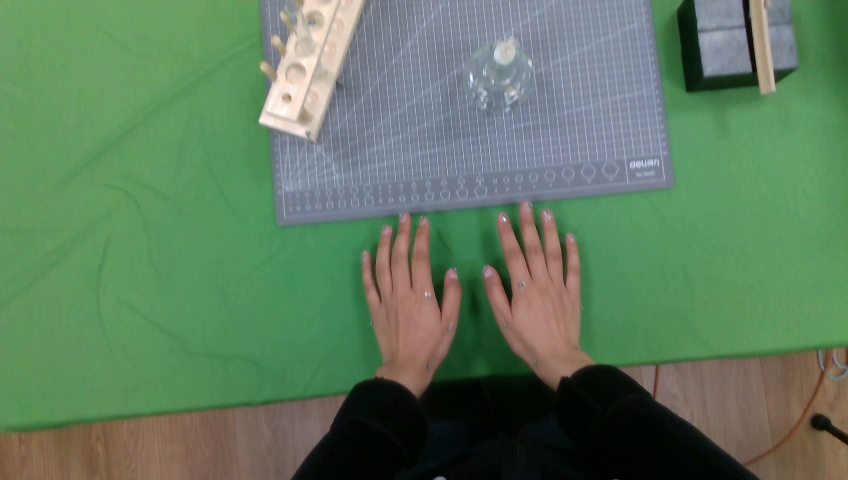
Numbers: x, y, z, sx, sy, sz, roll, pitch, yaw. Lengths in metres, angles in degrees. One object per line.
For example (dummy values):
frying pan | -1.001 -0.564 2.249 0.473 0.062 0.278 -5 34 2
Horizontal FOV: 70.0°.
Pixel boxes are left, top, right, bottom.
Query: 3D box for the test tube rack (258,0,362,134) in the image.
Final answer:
test tube rack | -0.121 -0.248 0.663 0.066 0.085 0.242 19 87 5

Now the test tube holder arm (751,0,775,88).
test tube holder arm | 0.348 -0.246 0.626 0.013 0.015 0.178 0 86 -30

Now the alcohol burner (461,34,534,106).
alcohol burner | 0.079 -0.185 0.636 0.078 0.119 0.077 0 84 1

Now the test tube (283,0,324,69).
test tube | -0.119 -0.207 0.610 0.017 0.150 0.017 0 84 -1
